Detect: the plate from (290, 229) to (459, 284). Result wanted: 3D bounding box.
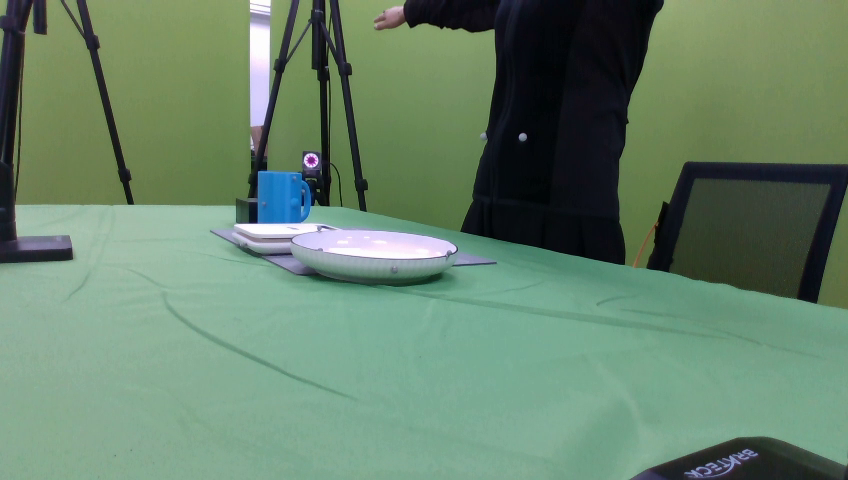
[{"bbox_3d":[-0.062,0.020,0.753,0.209,0.038,0.209,3,9,0],"label":"plate"}]

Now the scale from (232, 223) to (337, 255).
[{"bbox_3d":[-0.178,-0.004,0.920,0.202,0.031,0.148,-1,9,-30],"label":"scale"}]

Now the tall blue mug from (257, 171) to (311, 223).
[{"bbox_3d":[-0.258,-0.070,1.107,0.078,0.108,0.107,2,7,5],"label":"tall blue mug"}]
